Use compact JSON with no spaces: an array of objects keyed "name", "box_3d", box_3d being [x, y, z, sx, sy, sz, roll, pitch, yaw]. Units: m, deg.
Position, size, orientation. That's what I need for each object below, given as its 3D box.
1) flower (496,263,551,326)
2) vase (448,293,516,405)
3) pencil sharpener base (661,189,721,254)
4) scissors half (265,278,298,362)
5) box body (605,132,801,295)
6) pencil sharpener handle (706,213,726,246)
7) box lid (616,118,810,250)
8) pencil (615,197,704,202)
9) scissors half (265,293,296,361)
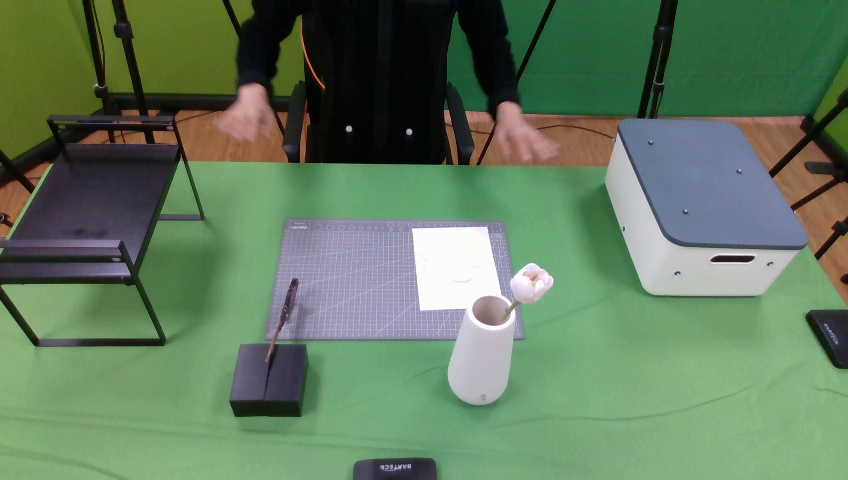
[{"name":"flower","box_3d":[0.102,0.120,0.853,0.044,0.363,0.038,-2,64,-10]},{"name":"vase","box_3d":[0.091,0.169,0.921,0.098,0.201,0.097,3,47,-3]},{"name":"pencil sharpener base","box_3d":[0.531,-0.034,1.202,0.076,0.107,0.061,30,51,21]},{"name":"scissors half","box_3d":[-0.234,0.127,0.993,0.013,0.040,0.174,12,46,-3]},{"name":"box body","box_3d":[0.529,-0.068,1.205,0.254,0.161,0.361,1,46,-4]},{"name":"pencil sharpener handle","box_3d":[0.572,-0.019,1.174,0.030,0.068,0.036,30,48,21]},{"name":"box lid","box_3d":[0.533,-0.118,1.151,0.263,0.015,0.369,1,45,-4]},{"name":"pencil","box_3d":[0.512,-0.090,1.322,0.194,0.012,0.012,1,46,0]},{"name":"scissors half","box_3d":[-0.239,0.143,1.005,0.013,0.040,0.174,17,28,-6]}]
